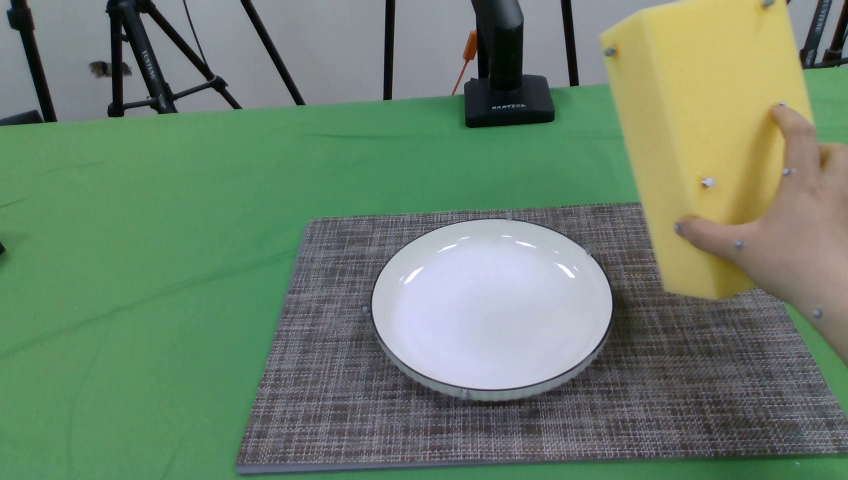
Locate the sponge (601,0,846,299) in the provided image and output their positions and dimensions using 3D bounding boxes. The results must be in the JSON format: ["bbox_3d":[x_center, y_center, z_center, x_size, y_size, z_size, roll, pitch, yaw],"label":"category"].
[{"bbox_3d":[0.225,-0.071,0.457,0.118,0.207,0.060,-18,5,-12],"label":"sponge"}]

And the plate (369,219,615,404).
[{"bbox_3d":[0.057,0.059,0.529,0.207,0.039,0.205,-4,40,3],"label":"plate"}]
